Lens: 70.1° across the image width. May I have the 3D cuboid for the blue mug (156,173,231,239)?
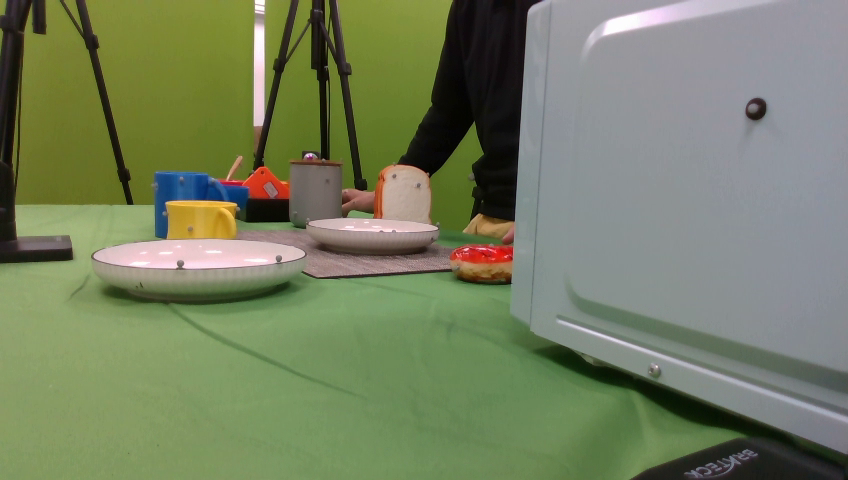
[{"bbox_3d":[-0.381,-0.057,1.004,0.117,0.106,0.082,0,8,-12],"label":"blue mug"}]

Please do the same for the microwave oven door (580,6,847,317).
[{"bbox_3d":[0.294,-0.067,0.570,0.358,0.243,0.039,-3,9,-31],"label":"microwave oven door"}]

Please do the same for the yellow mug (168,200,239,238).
[{"bbox_3d":[-0.320,-0.023,0.904,0.130,0.064,0.100,9,11,36],"label":"yellow mug"}]

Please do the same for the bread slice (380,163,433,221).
[{"bbox_3d":[-0.035,-0.076,1.124,0.107,0.134,0.018,-3,1,-25],"label":"bread slice"}]

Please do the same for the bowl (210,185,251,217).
[{"bbox_3d":[-0.408,-0.064,1.155,0.151,0.077,0.151,2,8,0],"label":"bowl"}]

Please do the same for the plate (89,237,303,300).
[{"bbox_3d":[-0.233,0.029,0.637,0.208,0.039,0.207,2,7,0],"label":"plate"}]

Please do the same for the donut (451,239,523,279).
[{"bbox_3d":[0.083,0.022,0.745,0.099,0.048,0.099,1,4,0],"label":"donut"}]

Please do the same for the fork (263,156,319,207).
[{"bbox_3d":[-0.331,-0.144,1.505,0.207,0.018,0.028,-42,-21,22],"label":"fork"}]

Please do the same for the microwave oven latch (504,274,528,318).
[{"bbox_3d":[0.100,0.041,0.471,0.079,0.029,0.030,-1,8,-28],"label":"microwave oven latch"}]

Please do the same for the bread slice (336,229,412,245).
[{"bbox_3d":[-0.074,-0.006,0.938,0.105,0.019,0.131,-2,5,-18],"label":"bread slice"}]

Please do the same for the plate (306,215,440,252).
[{"bbox_3d":[-0.079,-0.011,0.950,0.209,0.038,0.209,2,8,0],"label":"plate"}]

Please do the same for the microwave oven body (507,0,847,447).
[{"bbox_3d":[0.331,-0.042,0.425,0.444,0.260,0.324,-2,8,-31],"label":"microwave oven body"}]

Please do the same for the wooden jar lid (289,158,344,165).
[{"bbox_3d":[-0.215,-0.153,1.212,0.108,0.020,0.108,2,5,0],"label":"wooden jar lid"}]

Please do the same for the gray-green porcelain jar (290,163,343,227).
[{"bbox_3d":[-0.217,-0.091,1.221,0.106,0.126,0.106,2,7,0],"label":"gray-green porcelain jar"}]

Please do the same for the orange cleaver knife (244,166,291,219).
[{"bbox_3d":[-0.301,-0.089,1.351,0.212,0.077,0.012,32,-11,-34],"label":"orange cleaver knife"}]

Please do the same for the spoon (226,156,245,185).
[{"bbox_3d":[-0.477,-0.145,1.492,0.041,0.022,0.193,-1,51,13],"label":"spoon"}]
